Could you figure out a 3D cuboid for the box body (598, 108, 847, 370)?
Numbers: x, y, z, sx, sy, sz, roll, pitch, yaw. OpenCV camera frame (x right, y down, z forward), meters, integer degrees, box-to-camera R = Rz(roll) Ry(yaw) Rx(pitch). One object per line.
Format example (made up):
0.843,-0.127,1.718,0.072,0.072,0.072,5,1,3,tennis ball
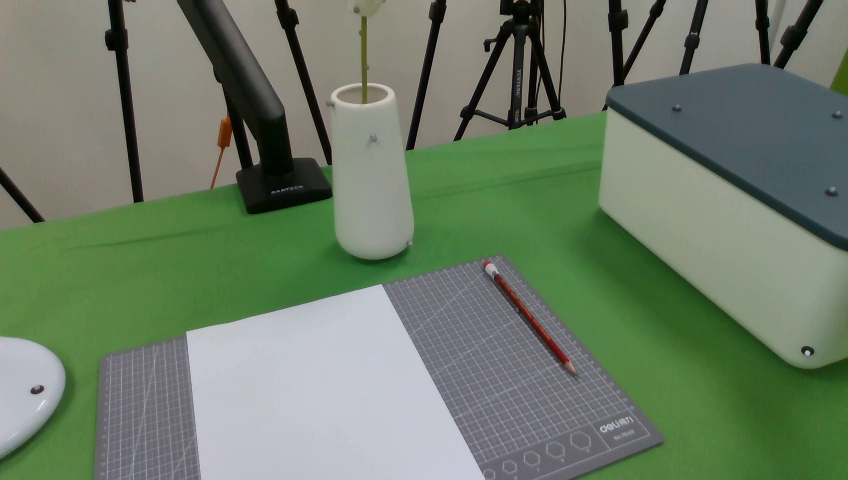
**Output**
0.398,-0.045,0.685,0.255,0.162,0.360,-14,36,-17,box body

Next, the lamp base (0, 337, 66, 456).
-0.424,0.082,0.507,0.178,0.182,0.160,20,40,32,lamp base

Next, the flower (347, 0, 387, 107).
-0.064,-0.129,0.644,0.044,0.364,0.038,22,53,9,flower

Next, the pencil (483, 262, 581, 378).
0.109,0.080,0.641,0.012,0.012,0.192,-14,37,-18,pencil

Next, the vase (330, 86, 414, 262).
-0.065,-0.073,0.709,0.098,0.201,0.097,-2,34,2,vase

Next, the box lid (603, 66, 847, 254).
0.395,-0.106,0.639,0.264,0.015,0.367,-14,37,-16,box lid
